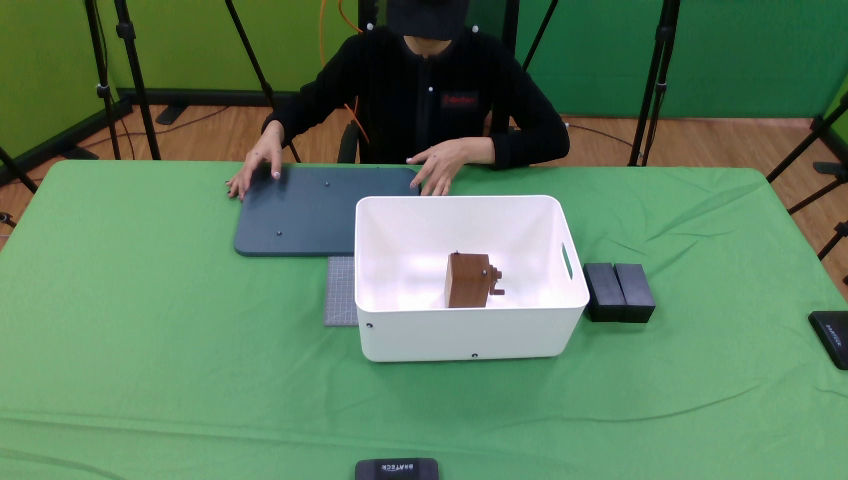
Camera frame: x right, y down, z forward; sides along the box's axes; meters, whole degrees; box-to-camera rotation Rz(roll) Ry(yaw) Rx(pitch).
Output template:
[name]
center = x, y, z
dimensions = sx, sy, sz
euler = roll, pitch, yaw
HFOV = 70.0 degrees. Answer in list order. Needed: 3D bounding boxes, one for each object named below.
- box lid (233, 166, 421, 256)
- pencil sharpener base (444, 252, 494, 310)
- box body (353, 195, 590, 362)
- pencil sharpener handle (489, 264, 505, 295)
[box lid]
center = -0.189, -0.065, 1.254
dimensions = 0.372, 0.015, 0.261
euler = 0, 46, -4
[pencil sharpener base]
center = 0.078, 0.078, 1.058
dimensions = 0.077, 0.107, 0.061
euler = 1, 45, -4
[box body]
center = 0.065, 0.066, 1.040
dimensions = 0.364, 0.161, 0.252
euler = -1, 46, -5
[pencil sharpener handle]
center = 0.129, 0.071, 1.052
dimensions = 0.031, 0.068, 0.036
euler = 1, 43, -4
